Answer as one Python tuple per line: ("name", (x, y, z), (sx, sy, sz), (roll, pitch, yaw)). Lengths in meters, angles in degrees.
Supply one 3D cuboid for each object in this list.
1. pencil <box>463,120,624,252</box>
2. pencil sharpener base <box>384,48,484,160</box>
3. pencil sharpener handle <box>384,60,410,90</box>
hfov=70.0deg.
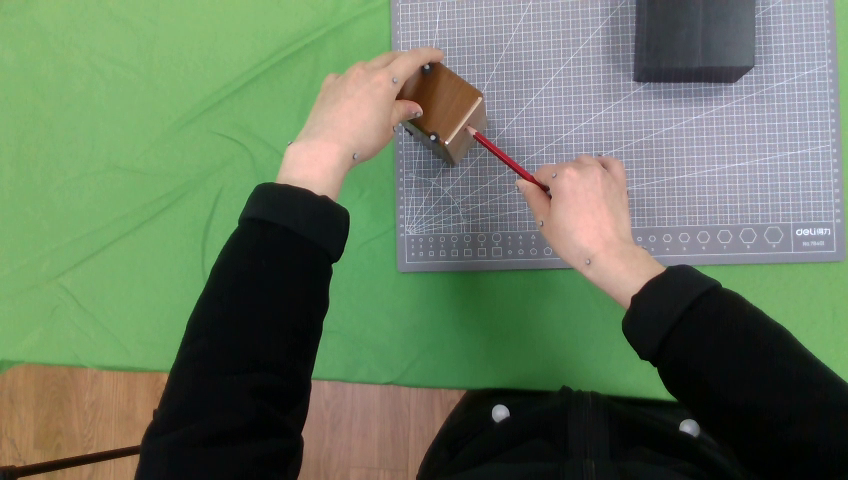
("pencil", (0.105, -0.053, 0.559), (0.193, 0.012, 0.012), (40, 93, 5))
("pencil sharpener base", (0.012, -0.131, 0.597), (0.076, 0.107, 0.061), (38, 93, 7))
("pencil sharpener handle", (-0.029, -0.164, 0.590), (0.030, 0.068, 0.036), (38, 97, 8))
